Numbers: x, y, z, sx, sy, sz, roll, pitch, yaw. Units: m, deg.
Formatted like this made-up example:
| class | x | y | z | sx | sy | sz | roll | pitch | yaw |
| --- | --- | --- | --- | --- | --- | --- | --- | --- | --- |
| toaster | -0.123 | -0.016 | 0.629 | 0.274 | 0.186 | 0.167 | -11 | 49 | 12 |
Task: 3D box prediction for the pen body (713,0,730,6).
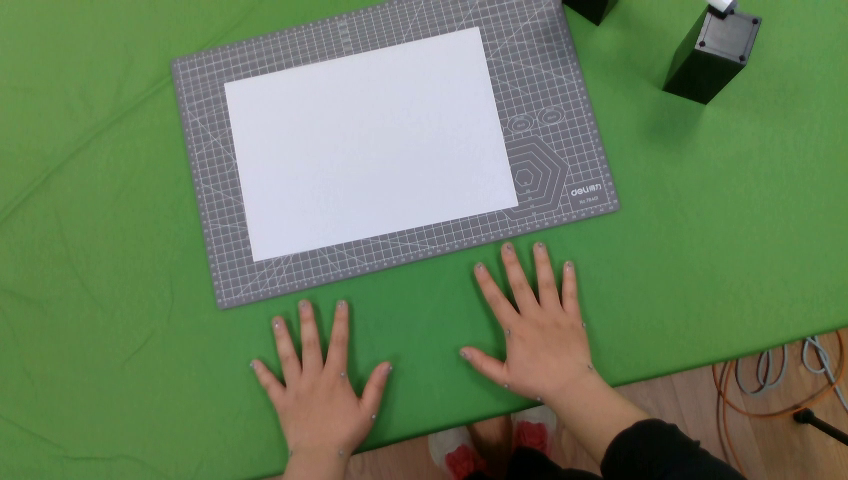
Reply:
| class | x | y | z | sx | sy | sz | roll | pitch | yaw |
| --- | --- | --- | --- | --- | --- | --- | --- | --- | --- |
| pen body | 0.225 | -0.264 | 0.566 | 0.144 | 0.017 | 0.017 | 38 | 87 | 7 |
